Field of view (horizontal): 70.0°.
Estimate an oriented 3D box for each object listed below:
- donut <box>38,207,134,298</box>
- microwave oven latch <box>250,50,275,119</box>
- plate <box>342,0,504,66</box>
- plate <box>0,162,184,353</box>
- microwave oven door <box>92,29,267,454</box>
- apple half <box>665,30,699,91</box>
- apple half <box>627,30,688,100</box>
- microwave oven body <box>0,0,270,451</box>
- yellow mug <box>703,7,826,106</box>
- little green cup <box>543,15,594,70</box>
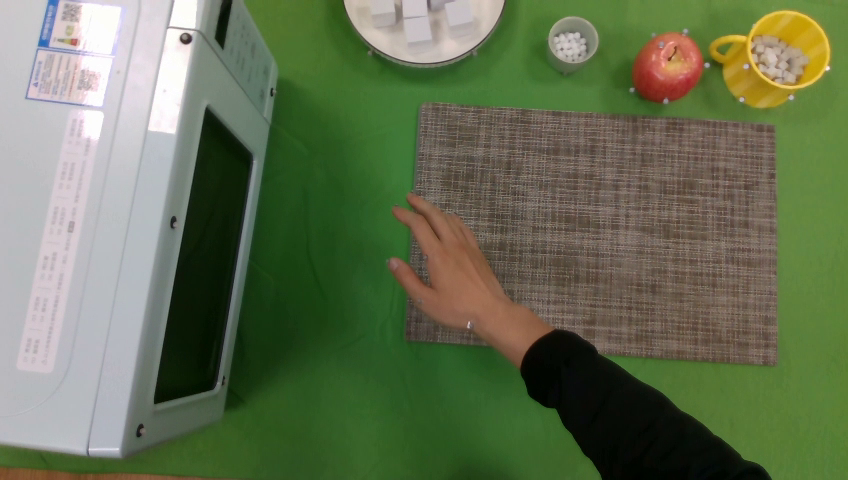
[{"bbox_3d":[-0.362,0.014,0.650,0.099,0.048,0.099,0,84,1],"label":"donut"},{"bbox_3d":[-0.201,-0.190,0.736,0.030,0.029,0.079,8,83,0],"label":"microwave oven latch"},{"bbox_3d":[-0.001,-0.318,0.773,0.208,0.039,0.207,0,82,0],"label":"plate"},{"bbox_3d":[-0.365,0.019,0.663,0.209,0.038,0.208,0,83,-1],"label":"plate"},{"bbox_3d":[-0.229,0.011,0.607,0.039,0.244,0.354,6,82,1],"label":"microwave oven door"},{"bbox_3d":[0.314,-0.223,0.745,0.033,0.081,0.081,-23,82,1],"label":"apple half"},{"bbox_3d":[0.278,-0.207,0.744,0.053,0.075,0.080,-23,87,1],"label":"apple half"},{"bbox_3d":[-0.369,-0.047,0.619,0.326,0.261,0.440,7,83,0],"label":"microwave oven body"},{"bbox_3d":[0.413,-0.230,0.750,0.131,0.064,0.099,14,82,2],"label":"yellow mug"},{"bbox_3d":[0.179,-0.246,0.765,0.061,0.039,0.061,0,82,0],"label":"little green cup"}]
